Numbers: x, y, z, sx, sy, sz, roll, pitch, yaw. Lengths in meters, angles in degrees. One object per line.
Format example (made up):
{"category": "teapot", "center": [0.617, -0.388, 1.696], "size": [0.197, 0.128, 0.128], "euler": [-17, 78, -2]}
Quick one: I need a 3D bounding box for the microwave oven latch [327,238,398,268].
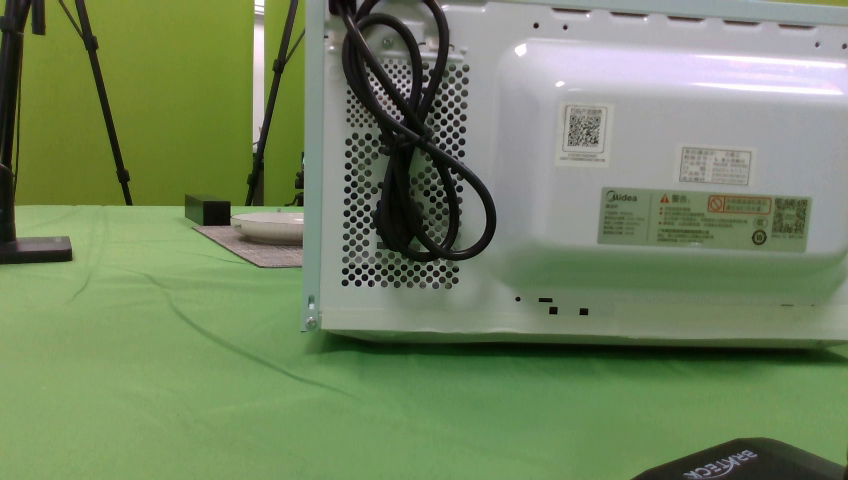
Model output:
{"category": "microwave oven latch", "center": [-0.070, 0.015, 0.694], "size": [0.079, 0.029, 0.030], "euler": [3, 7, -3]}

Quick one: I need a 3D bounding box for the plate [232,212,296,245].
{"category": "plate", "center": [-0.214, -0.019, 1.018], "size": [0.208, 0.039, 0.207], "euler": [2, 7, 0]}

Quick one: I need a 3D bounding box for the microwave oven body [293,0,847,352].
{"category": "microwave oven body", "center": [0.122, -0.055, 0.550], "size": [0.442, 0.260, 0.325], "euler": [3, 7, -5]}

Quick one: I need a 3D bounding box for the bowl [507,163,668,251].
{"category": "bowl", "center": [0.156, -0.034, 0.592], "size": [0.151, 0.077, 0.151], "euler": [0, 10, 0]}

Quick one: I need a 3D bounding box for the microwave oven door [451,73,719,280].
{"category": "microwave oven door", "center": [0.194, -0.091, 0.815], "size": [0.354, 0.243, 0.039], "euler": [8, 9, 38]}
